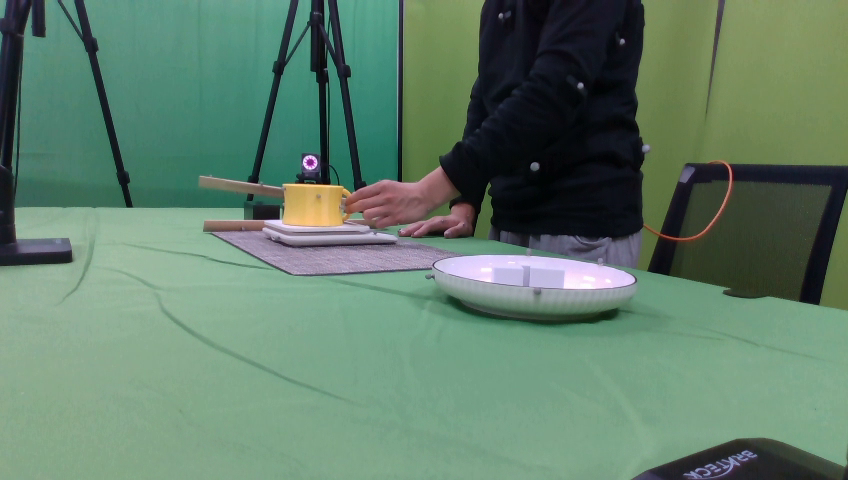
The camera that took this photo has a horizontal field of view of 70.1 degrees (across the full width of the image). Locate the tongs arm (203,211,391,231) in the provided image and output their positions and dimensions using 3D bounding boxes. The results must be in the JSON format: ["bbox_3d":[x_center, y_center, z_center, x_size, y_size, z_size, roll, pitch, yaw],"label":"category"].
[{"bbox_3d":[-0.231,-0.036,1.185,0.390,0.028,0.028,-3,33,-33],"label":"tongs arm"}]

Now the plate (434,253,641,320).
[{"bbox_3d":[0.114,0.047,0.626,0.208,0.039,0.207,2,7,0],"label":"plate"}]

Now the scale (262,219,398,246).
[{"bbox_3d":[-0.160,-0.016,1.028,0.202,0.031,0.148,-2,8,-31],"label":"scale"}]

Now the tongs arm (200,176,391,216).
[{"bbox_3d":[-0.257,-0.084,1.245,0.387,0.026,0.050,6,32,-22],"label":"tongs arm"}]

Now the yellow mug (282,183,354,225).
[{"bbox_3d":[-0.172,-0.061,1.009,0.131,0.064,0.099,-2,7,-41],"label":"yellow mug"}]
